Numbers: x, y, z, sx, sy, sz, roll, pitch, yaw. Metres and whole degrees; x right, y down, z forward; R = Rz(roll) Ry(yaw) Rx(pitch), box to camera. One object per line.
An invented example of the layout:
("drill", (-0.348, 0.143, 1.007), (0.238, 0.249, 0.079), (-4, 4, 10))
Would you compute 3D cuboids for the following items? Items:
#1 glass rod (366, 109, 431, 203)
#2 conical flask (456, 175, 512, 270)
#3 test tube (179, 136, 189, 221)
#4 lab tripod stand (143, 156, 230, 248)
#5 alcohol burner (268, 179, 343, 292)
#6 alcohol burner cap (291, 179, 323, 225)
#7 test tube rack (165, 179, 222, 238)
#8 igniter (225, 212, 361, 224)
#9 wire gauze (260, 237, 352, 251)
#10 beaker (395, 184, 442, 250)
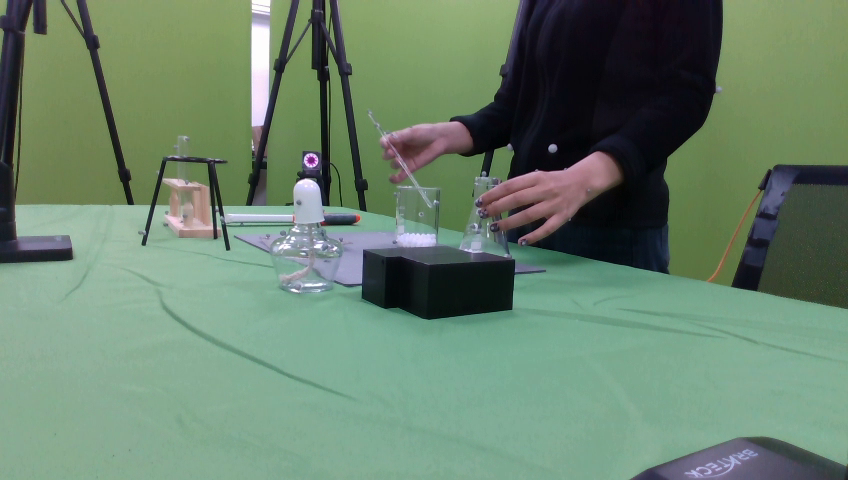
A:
("glass rod", (-0.043, -0.139, 0.980), (0.008, 0.199, 0.008), (-31, -17, -10))
("conical flask", (0.082, -0.025, 0.801), (0.075, 0.122, 0.075), (2, 7, 0))
("test tube", (-0.425, -0.108, 1.070), (0.017, 0.150, 0.017), (4, 9, 0))
("lab tripod stand", (-0.338, -0.058, 0.908), (0.148, 0.131, 0.148), (4, 7, 0))
("alcohol burner", (-0.124, -0.005, 0.637), (0.078, 0.119, 0.078), (4, 8, 0))
("alcohol burner cap", (-0.124, -0.040, 0.632), (0.034, 0.048, 0.034), (-3, 10, 1))
("test tube rack", (-0.423, -0.062, 1.098), (0.067, 0.085, 0.241), (-2, 9, -28))
("igniter", (-0.262, -0.045, 1.240), (0.278, 0.025, 0.057), (-2, -1, -31))
("wire gauze", (-0.184, 0.004, 0.938), (0.122, 0.011, 0.124), (-1, 5, -24))
("beaker", (-0.009, -0.038, 0.968), (0.074, 0.100, 0.084), (6, 8, 21))
